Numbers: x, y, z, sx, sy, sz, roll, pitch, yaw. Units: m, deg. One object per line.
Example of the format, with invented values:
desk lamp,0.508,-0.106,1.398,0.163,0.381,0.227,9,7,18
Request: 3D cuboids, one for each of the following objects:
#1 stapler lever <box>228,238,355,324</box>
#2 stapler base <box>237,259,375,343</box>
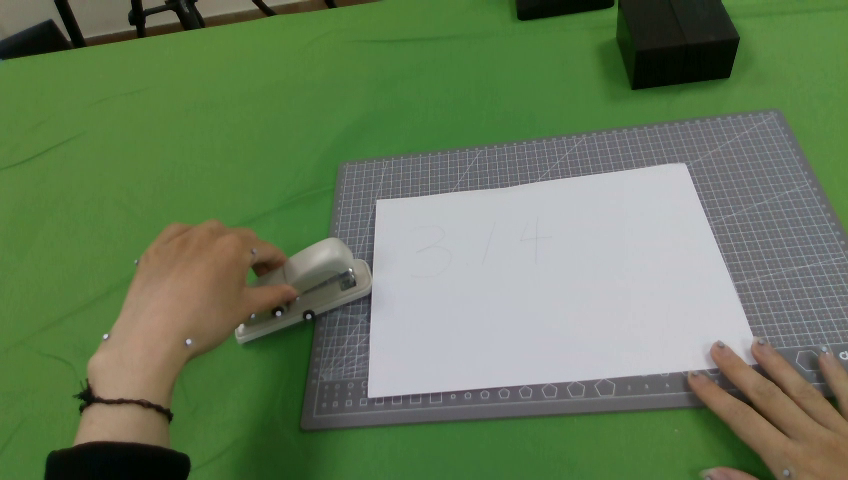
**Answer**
stapler lever,-0.116,0.034,0.518,0.118,0.040,0.026,-22,51,-1
stapler base,-0.109,0.048,0.539,0.130,0.025,0.041,-22,51,-2
